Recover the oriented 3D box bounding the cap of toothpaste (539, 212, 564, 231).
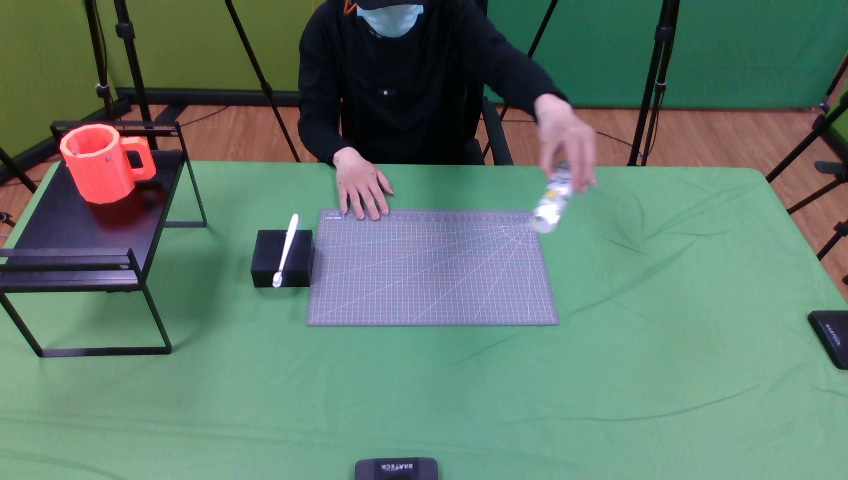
[{"bbox_3d":[0.192,-0.029,0.910,0.037,0.037,0.011,20,49,15],"label":"cap of toothpaste"}]

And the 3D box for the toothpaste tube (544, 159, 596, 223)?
[{"bbox_3d":[0.227,-0.079,0.959,0.055,0.035,0.164,14,48,21],"label":"toothpaste tube"}]

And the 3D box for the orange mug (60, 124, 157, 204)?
[{"bbox_3d":[-0.505,-0.127,0.980,0.126,0.101,0.083,-13,48,-10],"label":"orange mug"}]

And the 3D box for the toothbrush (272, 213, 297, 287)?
[{"bbox_3d":[-0.252,0.013,1.104,0.014,0.017,0.181,2,46,2],"label":"toothbrush"}]
